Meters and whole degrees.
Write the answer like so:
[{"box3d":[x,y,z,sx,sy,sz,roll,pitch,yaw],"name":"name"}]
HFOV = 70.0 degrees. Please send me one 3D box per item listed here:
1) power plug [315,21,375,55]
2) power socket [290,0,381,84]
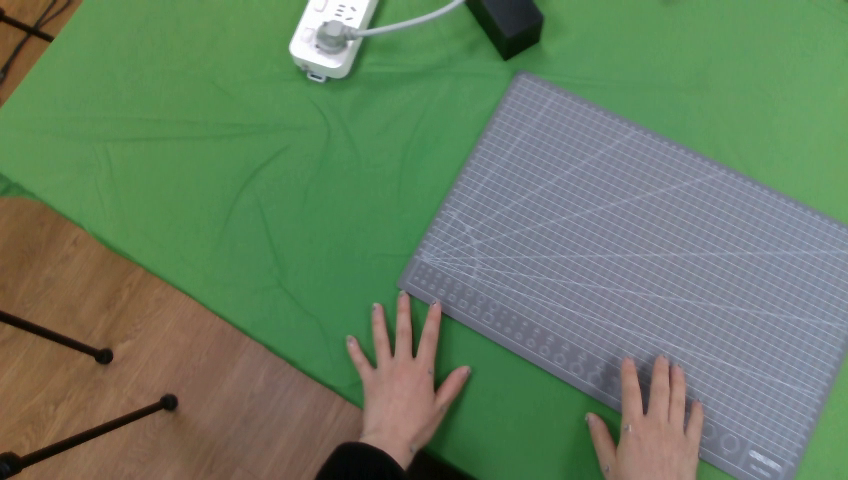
[{"box3d":[-0.093,-0.224,0.701,0.072,0.053,0.035,30,80,9],"name":"power plug"},{"box3d":[-0.092,-0.297,0.739,0.072,0.033,0.226,20,79,6],"name":"power socket"}]
